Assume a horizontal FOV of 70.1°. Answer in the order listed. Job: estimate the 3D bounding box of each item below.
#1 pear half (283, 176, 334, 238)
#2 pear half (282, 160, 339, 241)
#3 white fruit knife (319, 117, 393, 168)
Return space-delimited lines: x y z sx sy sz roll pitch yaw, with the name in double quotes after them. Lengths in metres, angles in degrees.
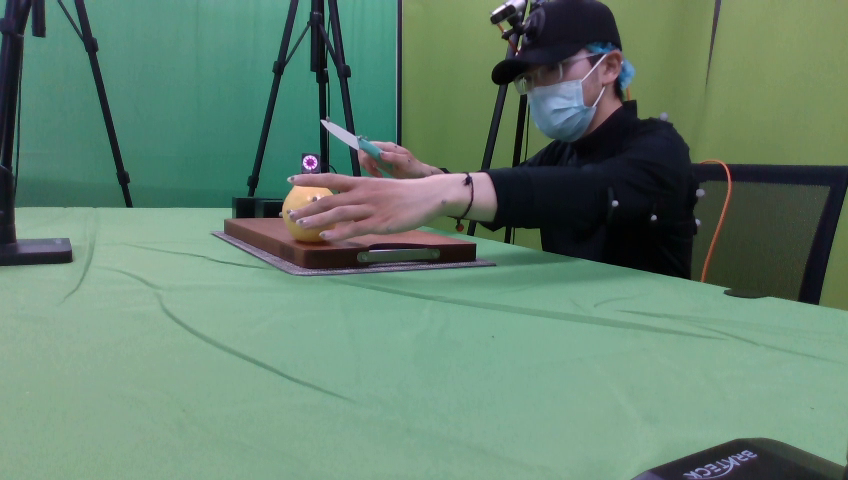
-0.164 -0.047 0.847 0.071 0.088 0.031 -9 12 -22 "pear half"
-0.151 -0.052 0.812 0.077 0.110 0.055 -5 10 -22 "pear half"
-0.115 -0.172 1.062 0.016 0.027 0.208 -4 -15 30 "white fruit knife"
